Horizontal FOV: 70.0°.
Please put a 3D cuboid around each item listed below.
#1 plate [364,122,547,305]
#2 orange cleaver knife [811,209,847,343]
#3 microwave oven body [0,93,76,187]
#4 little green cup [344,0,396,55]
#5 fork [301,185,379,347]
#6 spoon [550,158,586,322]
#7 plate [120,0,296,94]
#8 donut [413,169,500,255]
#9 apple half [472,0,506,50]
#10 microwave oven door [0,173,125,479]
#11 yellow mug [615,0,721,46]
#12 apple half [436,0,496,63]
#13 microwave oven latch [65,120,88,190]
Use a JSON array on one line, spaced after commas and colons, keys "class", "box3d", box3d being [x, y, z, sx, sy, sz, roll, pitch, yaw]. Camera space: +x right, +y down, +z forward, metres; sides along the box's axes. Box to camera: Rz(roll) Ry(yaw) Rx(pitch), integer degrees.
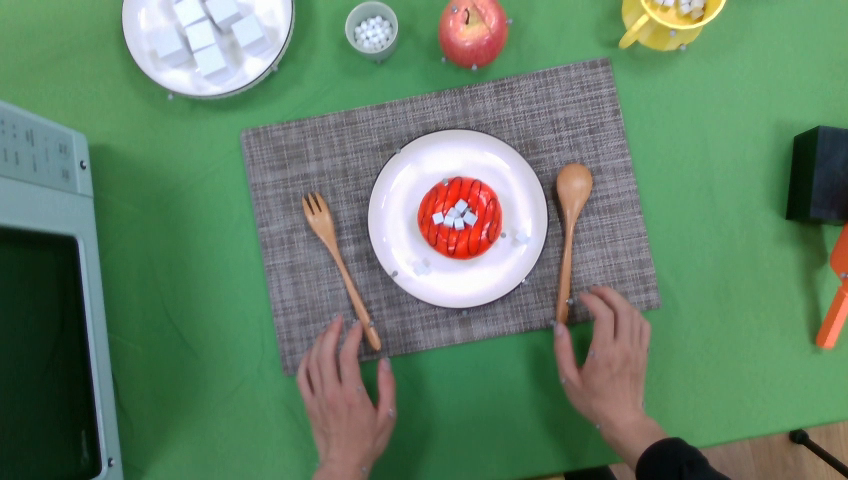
[{"class": "plate", "box3d": [0.036, -0.030, 0.699, 0.209, 0.038, 0.209, 0, 87, 3]}, {"class": "orange cleaver knife", "box3d": [0.461, 0.014, 0.656, 0.012, 0.076, 0.213, 9, 119, 5]}, {"class": "microwave oven body", "box3d": [-0.543, 0.091, 0.608, 0.326, 0.260, 0.441, -8, 87, 2]}, {"class": "little green cup", "box3d": [-0.061, -0.251, 0.718, 0.061, 0.039, 0.061, 0, 87, 3]}, {"class": "fork", "box3d": [-0.098, 0.030, 0.712, 0.028, 0.018, 0.207, -23, 86, -10]}, {"class": "spoon", "box3d": [0.163, -0.002, 0.704, 0.041, 0.022, 0.193, 4, 87, 4]}, {"class": "plate", "box3d": [-0.254, -0.274, 0.727, 0.207, 0.039, 0.207, 0, 87, 3]}, {"class": "donut", "box3d": [0.037, -0.031, 0.688, 0.099, 0.048, 0.099, 0, 89, 4]}, {"class": "apple half", "box3d": [0.075, -0.259, 0.694, 0.033, 0.081, 0.081, -32, 86, 5]}, {"class": "microwave oven door", "box3d": [-0.393, 0.113, 0.595, 0.039, 0.244, 0.355, -8, 86, 3]}, {"class": "yellow mug", "box3d": [0.269, -0.272, 0.690, 0.131, 0.064, 0.100, -42, 86, 1]}, {"class": "apple half", "box3d": [0.042, -0.238, 0.696, 0.053, 0.074, 0.081, -31, 89, 5]}, {"class": "microwave oven latch", "box3d": [-0.415, -0.098, 0.707, 0.030, 0.029, 0.079, -7, 88, 2]}]
